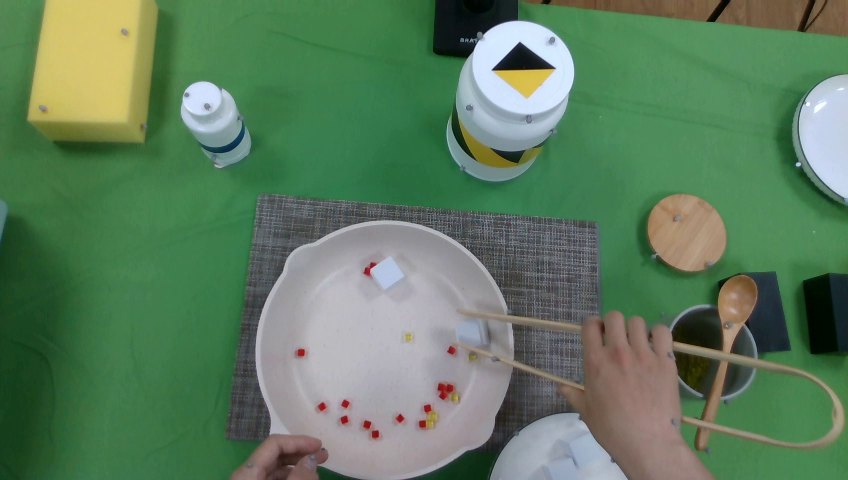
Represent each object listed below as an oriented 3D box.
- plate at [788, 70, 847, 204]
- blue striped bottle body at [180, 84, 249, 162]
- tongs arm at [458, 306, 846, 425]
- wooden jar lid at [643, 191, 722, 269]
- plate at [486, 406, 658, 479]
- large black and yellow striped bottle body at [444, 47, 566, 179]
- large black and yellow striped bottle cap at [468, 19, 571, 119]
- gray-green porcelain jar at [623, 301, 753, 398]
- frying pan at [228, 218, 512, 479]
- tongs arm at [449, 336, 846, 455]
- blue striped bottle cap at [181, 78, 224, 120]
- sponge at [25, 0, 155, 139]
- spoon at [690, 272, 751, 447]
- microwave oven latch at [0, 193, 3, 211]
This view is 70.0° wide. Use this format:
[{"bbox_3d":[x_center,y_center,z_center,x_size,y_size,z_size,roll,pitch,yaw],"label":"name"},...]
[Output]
[{"bbox_3d":[0.618,-0.142,0.867,0.209,0.038,0.208,1,75,-5],"label":"plate"},{"bbox_3d":[-0.257,-0.147,0.741,0.063,0.121,0.062,1,75,-5],"label":"blue striped bottle body"},{"bbox_3d":[0.182,0.105,0.588,0.028,0.384,0.028,32,74,-43],"label":"tongs arm"},{"bbox_3d":[0.346,-0.013,0.817,0.108,0.021,0.108,1,77,-5],"label":"wooden jar lid"},{"bbox_3d":[0.170,0.300,0.709,0.208,0.039,0.206,1,77,-5],"label":"plate"},{"bbox_3d":[0.098,-0.167,0.749,0.131,0.184,0.130,1,75,-5],"label":"large black and yellow striped bottle body"},{"bbox_3d":[0.106,-0.190,0.668,0.115,0.019,0.114,1,77,-5],"label":"large black and yellow striped bottle cap"},{"bbox_3d":[0.304,0.134,0.720,0.106,0.127,0.105,1,75,-5],"label":"gray-green porcelain jar"},{"bbox_3d":[-0.117,0.187,0.674,0.306,0.103,0.487,44,68,7],"label":"frying pan"},{"bbox_3d":[0.175,0.128,0.584,0.027,0.381,0.050,27,81,-44],"label":"tongs arm"},{"bbox_3d":[-0.253,-0.162,0.692,0.044,0.021,0.044,1,77,-5],"label":"blue striped bottle cap"},{"bbox_3d":[-0.424,-0.237,0.779,0.118,0.061,0.205,0,76,-6],"label":"sponge"},{"bbox_3d":[0.314,0.127,0.651,0.042,0.021,0.193,21,78,-7],"label":"spoon"},{"bbox_3d":[-0.519,-0.022,0.707,0.030,0.029,0.079,8,75,-4],"label":"microwave oven latch"}]
